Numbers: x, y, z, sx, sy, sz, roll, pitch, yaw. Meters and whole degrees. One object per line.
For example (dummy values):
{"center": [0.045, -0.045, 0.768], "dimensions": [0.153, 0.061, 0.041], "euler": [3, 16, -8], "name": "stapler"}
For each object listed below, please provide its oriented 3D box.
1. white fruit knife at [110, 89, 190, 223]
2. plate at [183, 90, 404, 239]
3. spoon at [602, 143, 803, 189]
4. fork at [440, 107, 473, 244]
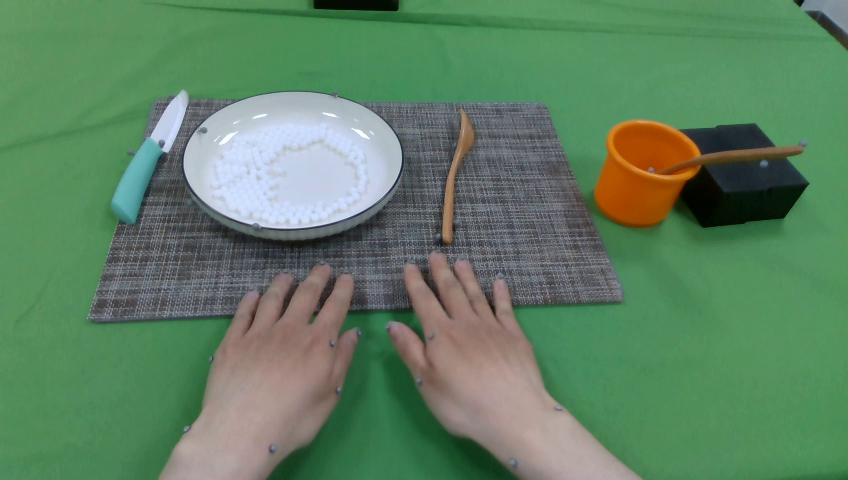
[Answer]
{"center": [-0.271, -0.095, 0.612], "dimensions": [0.027, 0.016, 0.205], "euler": [25, 41, -23], "name": "white fruit knife"}
{"center": [-0.124, -0.075, 0.596], "dimensions": [0.209, 0.038, 0.207], "euler": [4, 47, -4], "name": "plate"}
{"center": [0.250, -0.070, 0.570], "dimensions": [0.041, 0.193, 0.022], "euler": [-30, 101, -32], "name": "spoon"}
{"center": [0.033, -0.073, 0.627], "dimensions": [0.018, 0.028, 0.205], "euler": [-10, 44, 26], "name": "fork"}
